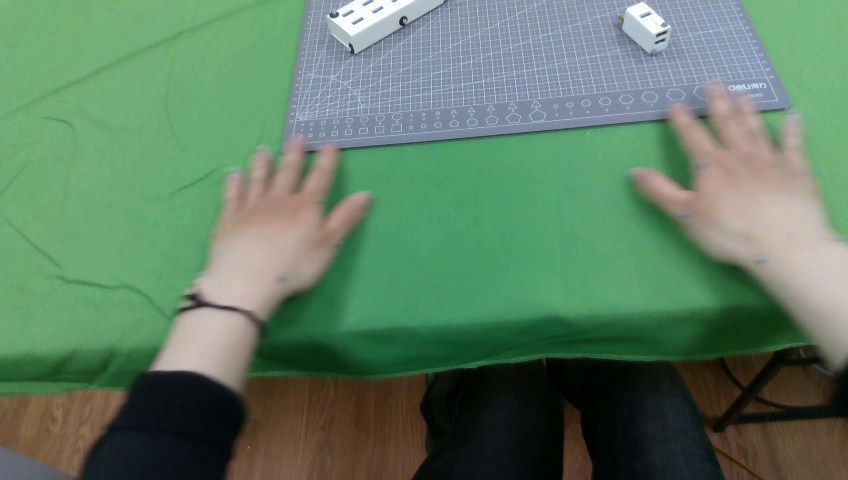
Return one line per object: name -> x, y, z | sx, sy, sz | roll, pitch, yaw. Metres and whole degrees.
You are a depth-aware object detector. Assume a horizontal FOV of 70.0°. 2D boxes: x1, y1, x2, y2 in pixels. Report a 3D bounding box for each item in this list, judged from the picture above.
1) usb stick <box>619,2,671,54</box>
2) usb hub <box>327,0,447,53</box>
usb stick -> 0.208, -0.206, 0.577 | 0.021, 0.027, 0.058 | -25, 54, -7
usb hub -> -0.037, -0.245, 0.639 | 0.125, 0.025, 0.049 | -35, 58, -16
